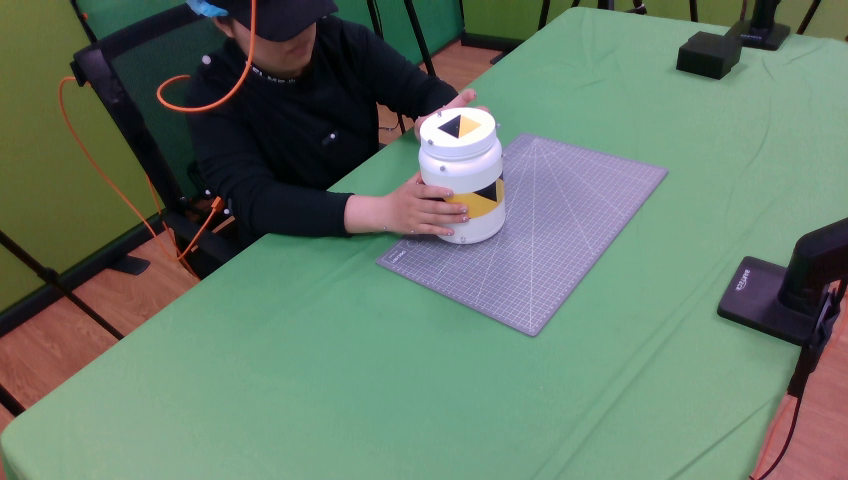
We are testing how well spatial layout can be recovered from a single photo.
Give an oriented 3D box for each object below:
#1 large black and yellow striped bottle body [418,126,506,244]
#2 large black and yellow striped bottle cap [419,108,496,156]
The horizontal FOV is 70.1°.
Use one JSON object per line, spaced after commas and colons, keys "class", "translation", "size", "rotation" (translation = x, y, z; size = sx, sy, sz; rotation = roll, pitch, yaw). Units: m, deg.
{"class": "large black and yellow striped bottle body", "translation": [0.061, -0.100, 0.959], "size": [0.131, 0.185, 0.130], "rotation": [-5, 40, 5]}
{"class": "large black and yellow striped bottle cap", "translation": [0.050, -0.164, 0.906], "size": [0.115, 0.019, 0.114], "rotation": [-4, 41, 4]}
